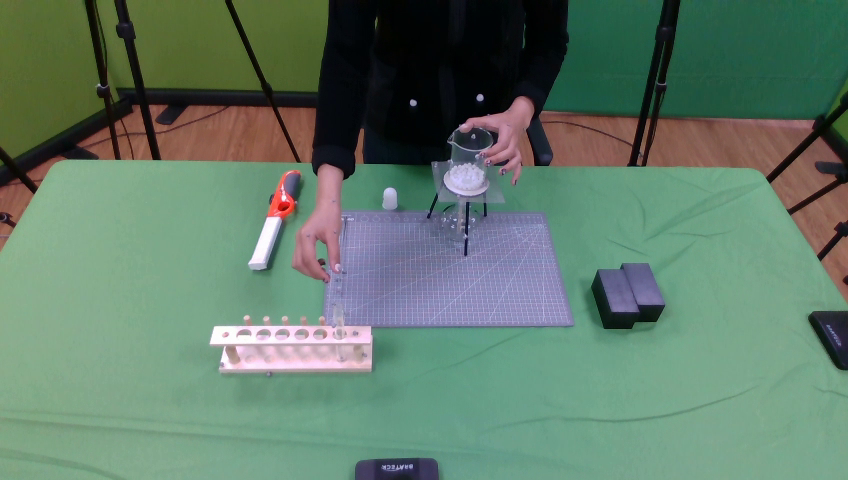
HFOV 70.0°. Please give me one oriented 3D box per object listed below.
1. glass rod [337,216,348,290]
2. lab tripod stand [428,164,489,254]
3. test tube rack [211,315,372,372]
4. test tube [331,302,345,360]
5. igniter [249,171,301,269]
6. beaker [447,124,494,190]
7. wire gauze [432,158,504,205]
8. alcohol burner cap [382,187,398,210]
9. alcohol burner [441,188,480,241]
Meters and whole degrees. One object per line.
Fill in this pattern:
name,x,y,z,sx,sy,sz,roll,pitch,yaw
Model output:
glass rod,-0.158,0.021,1.171,0.008,0.008,0.198,1,43,-2
lab tripod stand,0.078,-0.068,1.188,0.148,0.132,0.147,3,47,-3
test tube rack,-0.208,0.163,0.982,0.242,0.085,0.066,1,46,-4
test tube,-0.132,0.144,0.938,0.017,0.151,0.017,2,49,-3
igniter,-0.297,-0.049,1.220,0.057,0.025,0.275,-1,45,9
beaker,0.080,-0.148,1.106,0.084,0.101,0.073,-3,47,-7
wire gauze,0.081,-0.112,1.138,0.125,0.011,0.120,0,48,-7
alcohol burner cap,-0.072,-0.090,1.266,0.034,0.048,0.033,2,47,-2
alcohol burner,0.073,-0.055,1.189,0.078,0.120,0.077,1,48,-1
